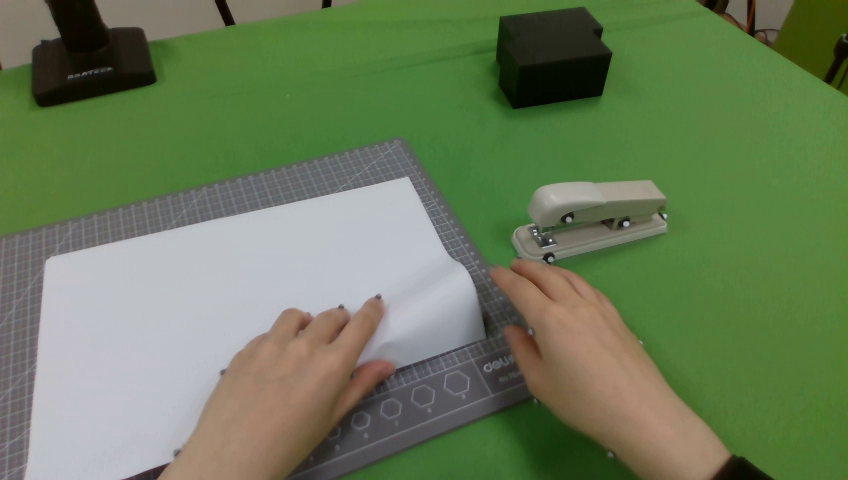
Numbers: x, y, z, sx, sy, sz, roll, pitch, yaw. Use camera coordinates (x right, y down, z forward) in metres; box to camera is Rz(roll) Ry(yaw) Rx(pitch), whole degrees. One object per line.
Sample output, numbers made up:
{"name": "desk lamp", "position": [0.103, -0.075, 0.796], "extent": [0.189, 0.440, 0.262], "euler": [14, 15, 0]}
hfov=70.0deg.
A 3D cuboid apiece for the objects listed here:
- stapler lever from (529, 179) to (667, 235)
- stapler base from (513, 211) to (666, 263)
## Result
{"name": "stapler lever", "position": [0.140, -0.032, 0.482], "extent": [0.118, 0.040, 0.026], "euler": [-13, 51, -14]}
{"name": "stapler base", "position": [0.138, -0.015, 0.499], "extent": [0.131, 0.024, 0.041], "euler": [-13, 51, -15]}
